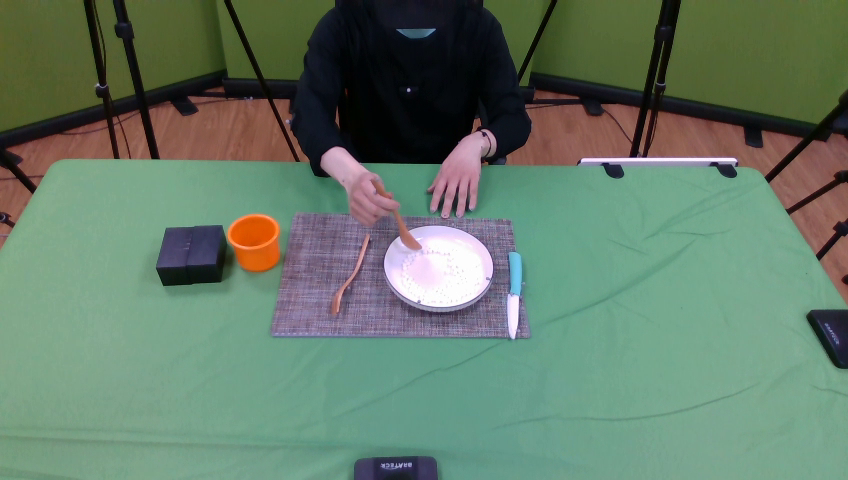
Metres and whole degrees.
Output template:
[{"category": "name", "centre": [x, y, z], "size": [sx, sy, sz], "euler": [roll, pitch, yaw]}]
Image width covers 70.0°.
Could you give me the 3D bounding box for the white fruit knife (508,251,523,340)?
[{"category": "white fruit knife", "centre": [0.169, 0.098, 1.113], "size": [0.027, 0.016, 0.206], "euler": [-13, 43, 23]}]

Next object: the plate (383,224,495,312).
[{"category": "plate", "centre": [0.026, 0.055, 1.128], "size": [0.209, 0.038, 0.208], "euler": [2, 46, -2]}]

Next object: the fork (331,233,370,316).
[{"category": "fork", "centre": [-0.133, 0.058, 1.127], "size": [0.019, 0.028, 0.206], "euler": [36, 44, -13]}]

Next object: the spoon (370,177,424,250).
[{"category": "spoon", "centre": [-0.051, -0.044, 1.098], "size": [0.041, 0.195, 0.021], "euler": [7, 50, 38]}]
